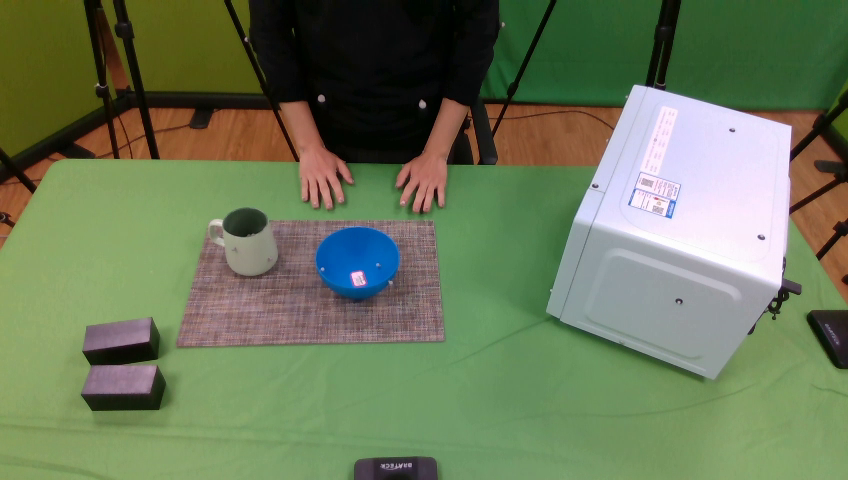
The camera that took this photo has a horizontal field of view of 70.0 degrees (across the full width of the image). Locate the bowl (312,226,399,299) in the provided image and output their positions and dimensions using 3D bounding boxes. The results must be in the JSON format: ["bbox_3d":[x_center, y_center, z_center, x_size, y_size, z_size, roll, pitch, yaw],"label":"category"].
[{"bbox_3d":[-0.120,0.054,1.091,0.151,0.077,0.150,2,46,-2],"label":"bowl"}]

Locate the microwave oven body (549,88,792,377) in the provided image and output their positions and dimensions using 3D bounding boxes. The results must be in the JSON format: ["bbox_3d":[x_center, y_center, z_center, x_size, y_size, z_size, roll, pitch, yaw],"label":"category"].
[{"bbox_3d":[0.456,-0.028,1.088,0.325,0.261,0.440,20,47,16],"label":"microwave oven body"}]

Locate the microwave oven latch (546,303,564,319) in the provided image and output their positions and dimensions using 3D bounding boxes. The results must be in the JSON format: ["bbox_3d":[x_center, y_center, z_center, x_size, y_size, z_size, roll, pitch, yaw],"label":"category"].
[{"bbox_3d":[0.242,0.102,1.081,0.030,0.029,0.079,21,48,17],"label":"microwave oven latch"}]

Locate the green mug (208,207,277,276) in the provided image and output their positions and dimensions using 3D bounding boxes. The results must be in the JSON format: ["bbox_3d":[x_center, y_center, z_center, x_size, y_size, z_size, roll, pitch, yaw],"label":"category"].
[{"bbox_3d":[-0.335,0.000,1.108,0.125,0.105,0.092,14,47,9],"label":"green mug"}]

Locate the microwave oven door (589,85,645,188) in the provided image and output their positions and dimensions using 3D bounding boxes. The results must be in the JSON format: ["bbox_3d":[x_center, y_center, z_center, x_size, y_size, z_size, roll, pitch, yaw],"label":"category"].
[{"bbox_3d":[0.342,-0.107,1.149,0.039,0.245,0.354,20,48,15],"label":"microwave oven door"}]
